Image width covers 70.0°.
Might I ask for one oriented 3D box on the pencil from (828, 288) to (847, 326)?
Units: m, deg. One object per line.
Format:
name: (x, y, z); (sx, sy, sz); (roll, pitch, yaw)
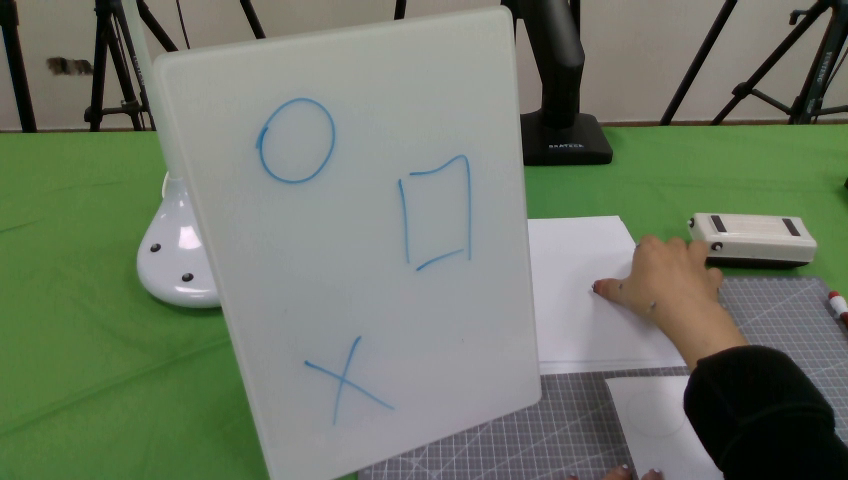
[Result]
pencil: (0.384, 0.112, 0.510); (0.012, 0.012, 0.192); (3, 42, 4)

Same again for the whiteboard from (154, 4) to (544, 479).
whiteboard: (-0.046, -0.002, 0.464); (0.218, 0.307, 0.142); (-15, 22, -16)

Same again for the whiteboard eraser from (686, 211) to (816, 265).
whiteboard eraser: (0.337, -0.001, 0.629); (0.112, 0.042, 0.055); (3, 40, 4)

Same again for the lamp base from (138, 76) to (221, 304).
lamp base: (-0.220, -0.057, 0.585); (0.177, 0.182, 0.160); (27, 46, 32)
